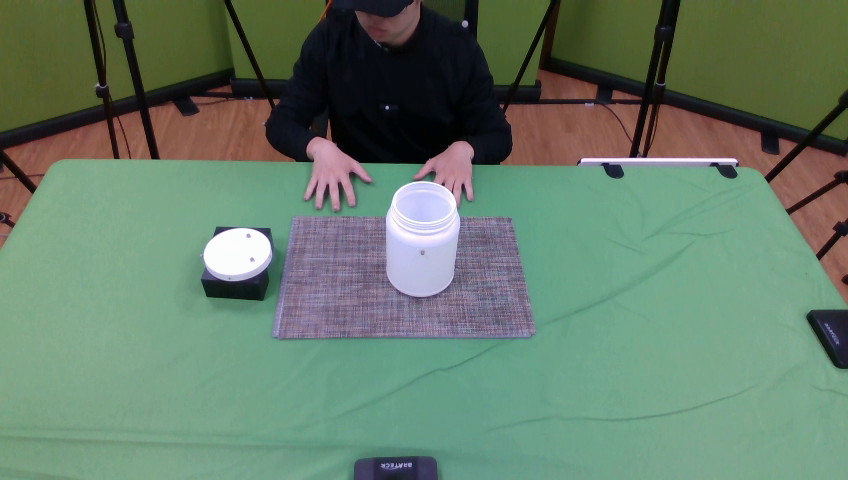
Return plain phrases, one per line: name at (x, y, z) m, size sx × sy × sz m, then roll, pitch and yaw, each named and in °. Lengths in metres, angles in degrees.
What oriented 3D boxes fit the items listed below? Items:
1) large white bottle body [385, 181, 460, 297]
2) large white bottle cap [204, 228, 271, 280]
large white bottle body at (-0.004, -0.003, 1.082) m, size 0.131 × 0.185 × 0.130 m, roll 2°, pitch 46°, yaw -2°
large white bottle cap at (-0.333, 0.024, 1.084) m, size 0.115 × 0.018 × 0.114 m, roll 2°, pitch 46°, yaw -2°
